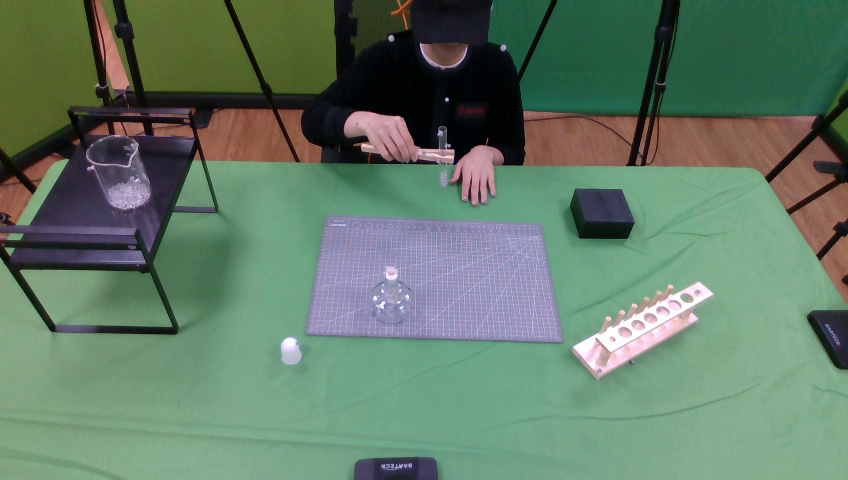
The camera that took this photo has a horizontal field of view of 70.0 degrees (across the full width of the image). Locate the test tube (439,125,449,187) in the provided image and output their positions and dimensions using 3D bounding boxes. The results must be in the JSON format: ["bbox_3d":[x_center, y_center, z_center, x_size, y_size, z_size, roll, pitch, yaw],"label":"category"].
[{"bbox_3d":[0.038,-0.154,1.134,0.017,0.151,0.017,-2,52,3],"label":"test tube"}]

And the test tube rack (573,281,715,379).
[{"bbox_3d":[0.378,0.140,1.038,0.242,0.085,0.066,-22,51,-23],"label":"test tube rack"}]

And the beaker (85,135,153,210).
[{"bbox_3d":[-0.475,-0.102,0.957,0.083,0.101,0.074,34,53,26],"label":"beaker"}]

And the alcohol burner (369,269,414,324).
[{"bbox_3d":[-0.056,0.089,1.037,0.078,0.120,0.077,1,47,-1],"label":"alcohol burner"}]

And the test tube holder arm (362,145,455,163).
[{"bbox_3d":[-0.030,-0.162,1.137,0.178,0.015,0.013,6,49,9],"label":"test tube holder arm"}]

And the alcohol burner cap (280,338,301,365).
[{"bbox_3d":[-0.220,0.179,0.993,0.034,0.048,0.033,2,46,-2],"label":"alcohol burner cap"}]

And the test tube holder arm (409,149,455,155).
[{"bbox_3d":[0.015,-0.163,1.134,0.088,0.015,0.010,1,49,4],"label":"test tube holder arm"}]
